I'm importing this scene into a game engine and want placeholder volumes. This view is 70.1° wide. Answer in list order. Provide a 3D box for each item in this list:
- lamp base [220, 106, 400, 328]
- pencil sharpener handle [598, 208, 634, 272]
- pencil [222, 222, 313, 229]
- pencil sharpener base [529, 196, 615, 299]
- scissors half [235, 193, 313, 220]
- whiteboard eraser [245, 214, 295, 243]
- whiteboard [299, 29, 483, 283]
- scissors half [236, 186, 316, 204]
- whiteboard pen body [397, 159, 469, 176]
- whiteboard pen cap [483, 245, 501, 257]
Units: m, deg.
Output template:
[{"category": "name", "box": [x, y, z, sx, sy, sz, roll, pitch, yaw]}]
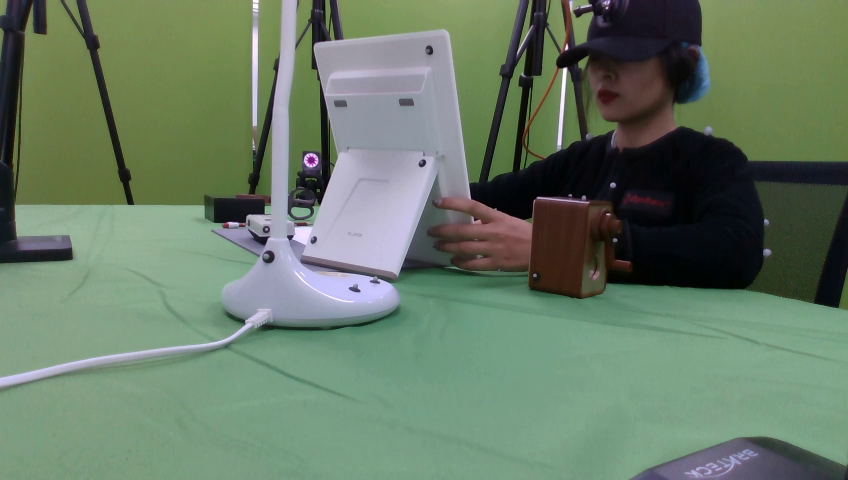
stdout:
[{"category": "lamp base", "box": [-0.101, -0.023, 0.531, 0.160, 0.180, 0.179, 4, 10, 10]}, {"category": "pencil sharpener handle", "box": [0.208, 0.000, 0.644, 0.030, 0.068, 0.036, 10, 23, 42]}, {"category": "pencil", "box": [-0.302, -0.030, 1.189, 0.195, 0.012, 0.012, -2, 9, -42]}, {"category": "pencil sharpener base", "box": [0.168, 0.007, 0.678, 0.076, 0.107, 0.062, 10, 10, 42]}, {"category": "scissors half", "box": [-0.324, -0.077, 1.319, 0.176, 0.040, 0.012, 17, 6, -31]}, {"category": "whiteboard eraser", "box": [-0.247, -0.018, 0.965, 0.056, 0.042, 0.112, 0, 8, -28]}, {"category": "whiteboard", "box": [-0.074, -0.082, 0.742, 0.216, 0.305, 0.144, 9, 29, 37]}, {"category": "scissors half", "box": [-0.320, -0.097, 1.316, 0.176, 0.040, 0.013, -3, 11, -29]}, {"category": "whiteboard pen body", "box": [0.014, -0.111, 0.918, 0.141, 0.017, 0.017, 2, 6, -41]}, {"category": "whiteboard pen cap", "box": [0.104, 0.017, 0.936, 0.018, 0.018, 0.033, -1, 4, -21]}]
